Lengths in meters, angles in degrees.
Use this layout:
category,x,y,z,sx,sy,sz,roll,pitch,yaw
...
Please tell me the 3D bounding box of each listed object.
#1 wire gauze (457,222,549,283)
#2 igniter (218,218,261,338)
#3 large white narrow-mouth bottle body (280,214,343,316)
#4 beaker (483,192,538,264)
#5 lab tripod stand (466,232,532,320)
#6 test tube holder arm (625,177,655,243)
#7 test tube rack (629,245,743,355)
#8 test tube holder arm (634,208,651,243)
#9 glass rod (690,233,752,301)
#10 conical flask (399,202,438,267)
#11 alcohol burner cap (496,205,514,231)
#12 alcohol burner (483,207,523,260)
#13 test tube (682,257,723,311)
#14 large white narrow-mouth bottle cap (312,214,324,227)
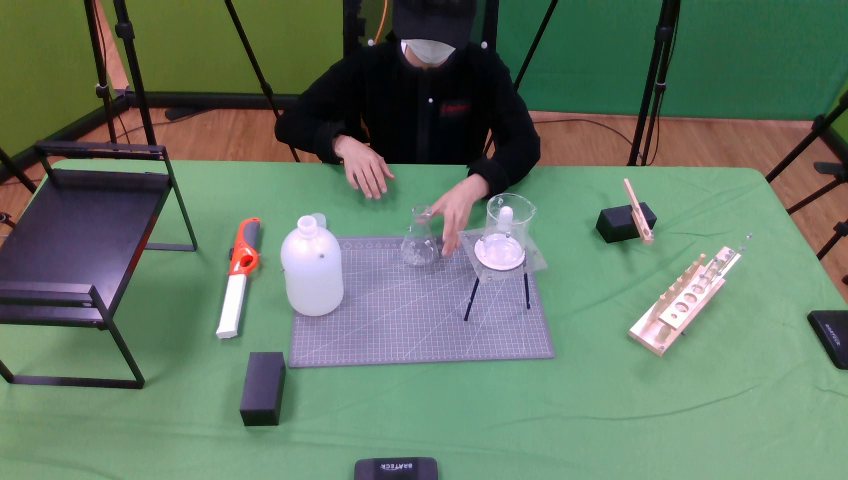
category,x,y,z,sx,sy,sz,roll,pitch,yaw
wire gauze,0.131,0.016,1.017,0.121,0.011,0.124,-10,44,-15
igniter,-0.336,0.060,1.111,0.057,0.025,0.274,-7,46,4
large white narrow-mouth bottle body,-0.190,0.035,1.025,0.102,0.195,0.101,2,46,-2
beaker,0.136,-0.017,0.980,0.084,0.101,0.073,-6,45,-9
lab tripod stand,0.125,0.059,1.065,0.148,0.132,0.147,1,45,0
test tube holder arm,0.433,-0.062,1.220,0.013,0.015,0.177,1,47,-3
test tube rack,0.474,0.095,1.091,0.242,0.085,0.066,-34,56,-31
test tube holder arm,0.428,-0.030,1.189,0.010,0.015,0.087,1,47,-2
glass rod,0.507,0.053,1.041,0.008,0.200,0.008,5,50,-6
conical flask,-0.008,-0.014,1.135,0.075,0.122,0.075,2,46,-2
alcohol burner cap,0.153,-0.044,1.131,0.034,0.048,0.033,2,40,-1
alcohol burner,0.152,-0.018,1.156,0.078,0.120,0.077,0,47,0
test tube,0.475,0.080,1.037,0.017,0.151,0.017,1,50,-1
large white narrow-mouth bottle cap,-0.219,-0.033,1.214,0.038,0.024,0.037,2,46,-2
